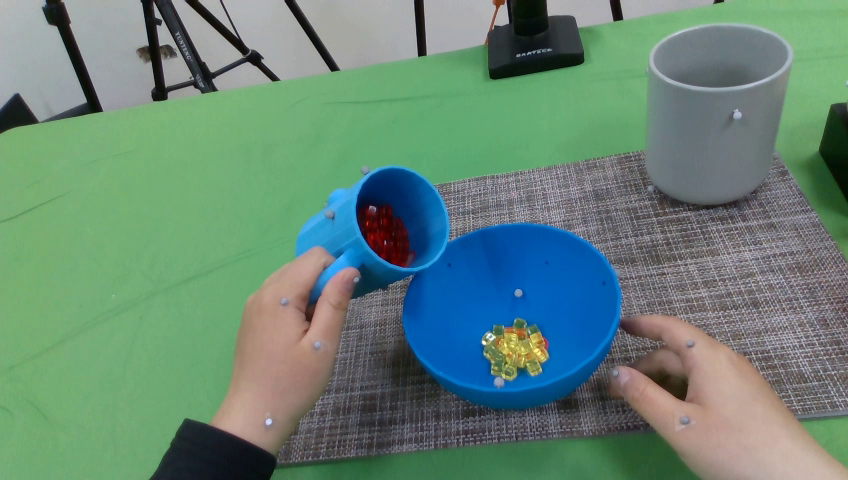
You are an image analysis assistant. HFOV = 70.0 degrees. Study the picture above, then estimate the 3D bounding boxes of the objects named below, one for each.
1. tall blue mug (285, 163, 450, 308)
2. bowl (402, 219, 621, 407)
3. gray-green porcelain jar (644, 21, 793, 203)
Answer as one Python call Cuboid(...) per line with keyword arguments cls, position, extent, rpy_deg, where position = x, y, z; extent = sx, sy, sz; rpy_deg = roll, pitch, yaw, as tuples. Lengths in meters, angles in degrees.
Cuboid(cls="tall blue mug", position=(-0.046, 0.011, 0.446), extent=(0.108, 0.078, 0.106), rpy_deg=(-25, 43, 54))
Cuboid(cls="bowl", position=(0.065, 0.064, 0.440), extent=(0.151, 0.077, 0.150), rpy_deg=(-9, 43, 9))
Cuboid(cls="gray-green porcelain jar", position=(0.245, -0.104, 0.520), extent=(0.106, 0.128, 0.105), rpy_deg=(-9, 44, 9))
